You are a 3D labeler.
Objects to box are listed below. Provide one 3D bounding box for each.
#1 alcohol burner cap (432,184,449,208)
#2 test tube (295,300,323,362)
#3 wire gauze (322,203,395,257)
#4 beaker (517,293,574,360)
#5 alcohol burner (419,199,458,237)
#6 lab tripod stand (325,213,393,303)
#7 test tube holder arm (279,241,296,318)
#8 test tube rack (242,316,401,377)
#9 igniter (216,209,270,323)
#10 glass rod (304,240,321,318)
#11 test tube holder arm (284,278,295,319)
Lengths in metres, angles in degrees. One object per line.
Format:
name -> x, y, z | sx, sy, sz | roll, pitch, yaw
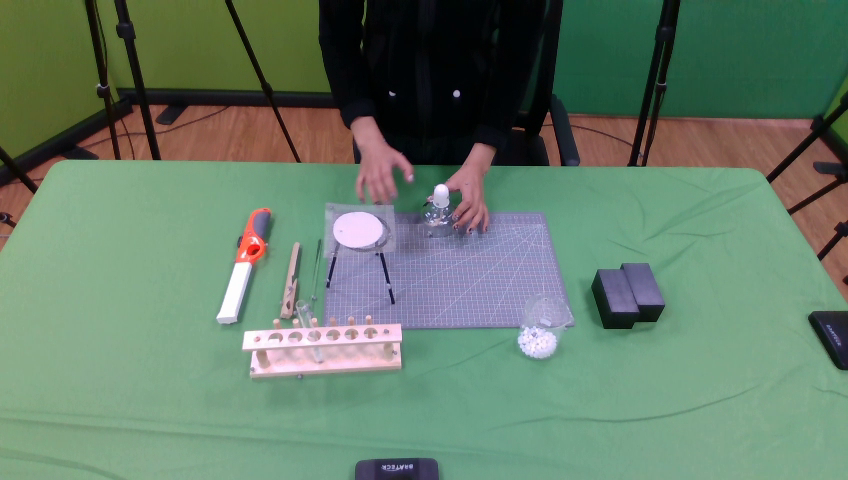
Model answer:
alcohol burner cap -> 0.032, -0.087, 1.169 | 0.034, 0.048, 0.033 | -1, 54, 1
test tube -> -0.176, 0.143, 0.935 | 0.017, 0.151, 0.017 | -2, 46, 2
wire gauze -> -0.111, -0.020, 1.035 | 0.121, 0.011, 0.124 | 0, 47, -7
beaker -> 0.200, 0.149, 1.018 | 0.084, 0.101, 0.073 | 14, 47, 8
alcohol burner -> 0.030, -0.063, 1.196 | 0.078, 0.119, 0.077 | 3, 48, -3
lab tripod stand -> -0.104, 0.031, 1.080 | 0.148, 0.132, 0.147 | 4, 45, -4
test tube holder arm -> -0.250, 0.069, 1.114 | 0.013, 0.015, 0.177 | 27, 37, -30
test tube rack -> -0.161, 0.166, 0.983 | 0.242, 0.085, 0.066 | -2, 46, -6
igniter -> -0.335, 0.039, 1.132 | 0.057, 0.025, 0.275 | -3, 46, 6
glass rod -> -0.207, 0.068, 1.128 | 0.008, 0.008, 0.198 | 2, 43, -2
test tube holder arm -> -0.242, 0.103, 1.085 | 0.010, 0.015, 0.087 | 28, 37, -29
